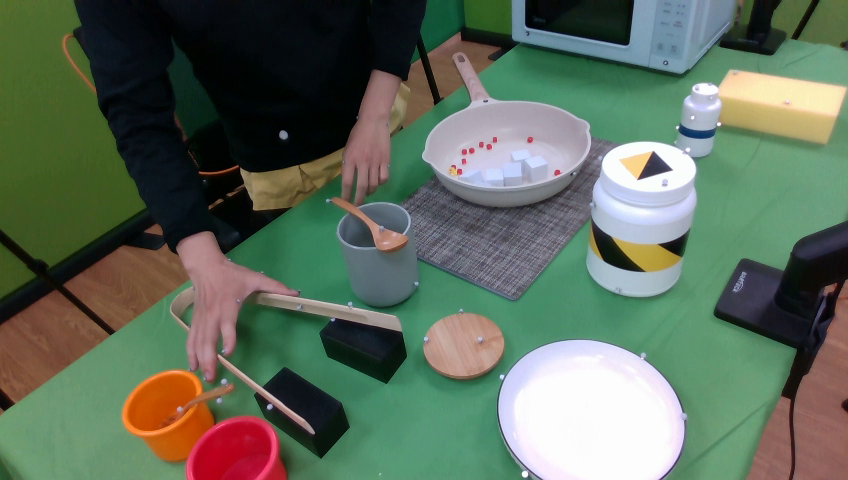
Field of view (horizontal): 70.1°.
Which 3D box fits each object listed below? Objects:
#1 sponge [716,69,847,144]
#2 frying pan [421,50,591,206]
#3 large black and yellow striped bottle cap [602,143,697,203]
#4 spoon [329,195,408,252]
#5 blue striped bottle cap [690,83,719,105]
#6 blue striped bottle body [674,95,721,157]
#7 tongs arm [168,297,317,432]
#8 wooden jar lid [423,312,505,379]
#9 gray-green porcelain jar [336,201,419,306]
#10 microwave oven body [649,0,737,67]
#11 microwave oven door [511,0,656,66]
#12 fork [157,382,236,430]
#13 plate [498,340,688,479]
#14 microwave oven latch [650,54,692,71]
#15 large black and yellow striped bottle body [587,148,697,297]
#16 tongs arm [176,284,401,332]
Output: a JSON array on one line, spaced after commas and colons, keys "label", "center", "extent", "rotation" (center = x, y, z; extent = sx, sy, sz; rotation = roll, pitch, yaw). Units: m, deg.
[{"label": "sponge", "center": [0.663, -0.256, 1.142], "extent": [0.205, 0.061, 0.118], "rotation": [19, 47, 28]}, {"label": "frying pan", "center": [0.127, -0.233, 1.155], "extent": [0.307, 0.103, 0.484], "rotation": [-11, 49, -5]}, {"label": "large black and yellow striped bottle cap", "center": [0.289, -0.088, 0.779], "extent": [0.115, 0.019, 0.114], "rotation": [-5, 40, 4]}, {"label": "spoon", "center": [-0.082, -0.029, 0.828], "extent": [0.042, 0.022, 0.192], "rotation": [-31, 42, -21]}, {"label": "blue striped bottle cap", "center": [0.481, -0.251, 1.038], "extent": [0.044, 0.021, 0.044], "rotation": [-5, 39, 5]}, {"label": "blue striped bottle body", "center": [0.486, -0.213, 1.072], "extent": [0.063, 0.121, 0.063], "rotation": [-4, 41, 4]}, {"label": "tongs arm", "center": [-0.248, 0.148, 0.774], "extent": [0.384, 0.028, 0.028], "rotation": [20, 56, 44]}, {"label": "wooden jar lid", "center": [0.053, 0.142, 0.800], "extent": [0.108, 0.021, 0.108], "rotation": [-5, 39, 4]}, {"label": "gray-green porcelain jar", "center": [-0.064, 0.024, 0.872], "extent": [0.106, 0.127, 0.105], "rotation": [-4, 41, 4]}, {"label": "microwave oven body", "center": [0.475, -0.602, 1.411], "extent": [0.438, 0.261, 0.327], "rotation": [23, 50, 32]}, {"label": "microwave oven door", "center": [0.350, -0.539, 1.348], "extent": [0.353, 0.245, 0.039], "rotation": [24, 50, 31]}, {"label": "fork", "center": [-0.262, 0.189, 0.690], "extent": [0.018, 0.206, 0.028], "rotation": [49, 43, -7]}, {"label": "plate", "center": [0.189, 0.206, 0.692], "extent": [0.207, 0.039, 0.206], "rotation": [-4, 40, 4]}, {"label": "microwave oven latch", "center": [0.530, -0.386, 1.301], "extent": [0.078, 0.029, 0.030], "rotation": [23, 50, 31]}, {"label": "large black and yellow striped bottle body", "center": [0.298, -0.026, 0.835], "extent": [0.131, 0.185, 0.130], "rotation": [-4, 41, 4]}, {"label": "tongs arm", "center": [-0.199, 0.097, 0.822], "extent": [0.382, 0.027, 0.051], "rotation": [7, 44, 33]}]
